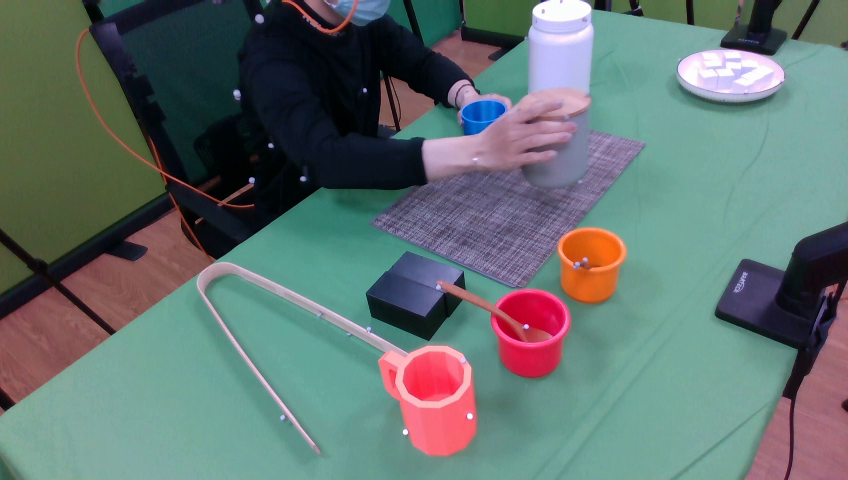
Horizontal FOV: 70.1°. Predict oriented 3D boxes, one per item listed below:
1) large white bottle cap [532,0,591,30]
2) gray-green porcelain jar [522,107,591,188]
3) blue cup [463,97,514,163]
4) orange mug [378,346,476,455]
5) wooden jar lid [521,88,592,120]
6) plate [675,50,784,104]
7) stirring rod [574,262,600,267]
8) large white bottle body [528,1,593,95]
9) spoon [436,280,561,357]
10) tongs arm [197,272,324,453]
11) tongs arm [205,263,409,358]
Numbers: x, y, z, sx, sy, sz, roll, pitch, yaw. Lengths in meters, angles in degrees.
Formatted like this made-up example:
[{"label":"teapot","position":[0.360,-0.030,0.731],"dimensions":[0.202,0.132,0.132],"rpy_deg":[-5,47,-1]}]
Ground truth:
[{"label":"large white bottle cap","position":[0.274,-0.449,1.204],"dimensions":[0.115,0.018,0.114],"rpy_deg":[-4,41,4]},{"label":"gray-green porcelain jar","position":[0.211,-0.155,0.966],"dimensions":[0.106,0.127,0.105],"rpy_deg":[-5,33,4]},{"label":"blue cup","position":[0.114,-0.200,1.121],"dimensions":[0.093,0.100,0.092],"rpy_deg":[0,40,1]},{"label":"orange mug","position":[0.002,0.179,0.708],"dimensions":[0.125,0.101,0.083],"rpy_deg":[25,50,26]},{"label":"wooden jar lid","position":[0.204,-0.206,0.933],"dimensions":[0.108,0.021,0.108],"rpy_deg":[-5,35,4]},{"label":"plate","position":[0.631,-0.336,1.262],"dimensions":[0.207,0.039,0.206],"rpy_deg":[-4,41,4]},{"label":"stirring rod","position":[0.222,0.033,0.816],"dimensions":[0.014,0.006,0.177],"rpy_deg":[8,1,22]},{"label":"large white bottle body","position":[0.283,-0.386,1.259],"dimensions":[0.130,0.185,0.130],"rpy_deg":[-5,41,5]},{"label":"spoon","position":[0.096,0.095,0.757],"dimensions":[0.195,0.021,0.041],"rpy_deg":[34,41,-20]},{"label":"tongs arm","position":[-0.236,0.154,0.830],"dimensions":[0.028,0.028,0.384],"rpy_deg":[-37,47,-18]},{"label":"tongs arm","position":[-0.179,0.107,0.870],"dimensions":[0.381,0.027,0.051],"rpy_deg":[23,54,32]}]
